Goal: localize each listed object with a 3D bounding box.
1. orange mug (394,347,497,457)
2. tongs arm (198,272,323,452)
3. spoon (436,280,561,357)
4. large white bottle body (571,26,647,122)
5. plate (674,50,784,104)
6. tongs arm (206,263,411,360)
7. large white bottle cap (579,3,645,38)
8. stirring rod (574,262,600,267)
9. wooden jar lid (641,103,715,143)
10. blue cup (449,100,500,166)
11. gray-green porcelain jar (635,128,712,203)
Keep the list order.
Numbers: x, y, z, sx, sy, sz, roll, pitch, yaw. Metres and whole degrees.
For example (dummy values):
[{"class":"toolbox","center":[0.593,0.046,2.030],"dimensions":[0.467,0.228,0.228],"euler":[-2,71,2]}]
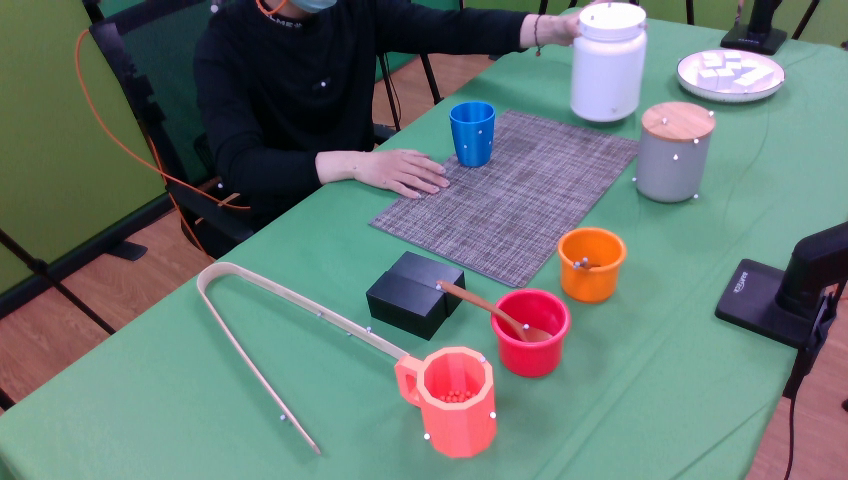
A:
[{"class":"orange mug","center":[0.024,0.181,0.703],"dimensions":[0.125,0.101,0.083],"euler":[20,48,23]},{"class":"tongs arm","center":[-0.236,0.153,0.829],"dimensions":[0.028,0.028,0.384],"euler":[-36,47,-19]},{"class":"spoon","center":[0.096,0.095,0.758],"dimensions":[0.195,0.021,0.041],"euler":[34,41,-20]},{"class":"large white bottle body","center":[0.348,-0.333,1.144],"dimensions":[0.130,0.185,0.130],"euler":[-5,42,5]},{"class":"plate","center":[0.631,-0.336,1.262],"dimensions":[0.207,0.039,0.206],"euler":[-4,41,4]},{"class":"tongs arm","center":[-0.179,0.106,0.870],"dimensions":[0.381,0.026,0.051],"euler":[23,53,32]},{"class":"large white bottle cap","center":[0.338,-0.396,1.088],"dimensions":[0.115,0.018,0.114],"euler":[-4,42,4]},{"class":"stirring rod","center":[0.222,0.033,0.816],"dimensions":[0.014,0.006,0.177],"euler":[8,1,22]},{"class":"wooden jar lid","center":[0.398,-0.180,0.952],"dimensions":[0.108,0.021,0.108],"euler":[-4,43,4]},{"class":"blue cup","center":[0.092,-0.194,1.123],"dimensions":[0.092,0.100,0.092],"euler":[-3,39,3]},{"class":"gray-green porcelain jar","center":[0.405,-0.133,0.992],"dimensions":[0.106,0.127,0.105],"euler":[-4,40,4]}]
